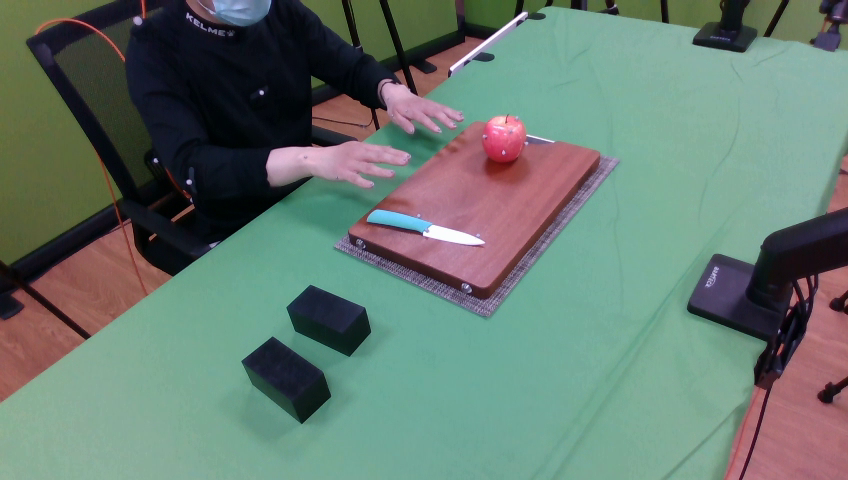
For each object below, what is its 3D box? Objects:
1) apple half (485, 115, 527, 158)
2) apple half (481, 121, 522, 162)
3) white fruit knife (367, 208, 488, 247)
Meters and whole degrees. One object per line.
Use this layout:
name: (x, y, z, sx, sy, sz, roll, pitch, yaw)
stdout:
apple half: (0.149, -0.188, 1.082, 0.080, 0.075, 0.053, 13, 40, 28)
apple half: (0.130, -0.165, 1.057, 0.081, 0.081, 0.033, 16, 42, 25)
white fruit knife: (0.004, -0.019, 0.952, 0.206, 0.016, 0.027, 15, 75, 21)
